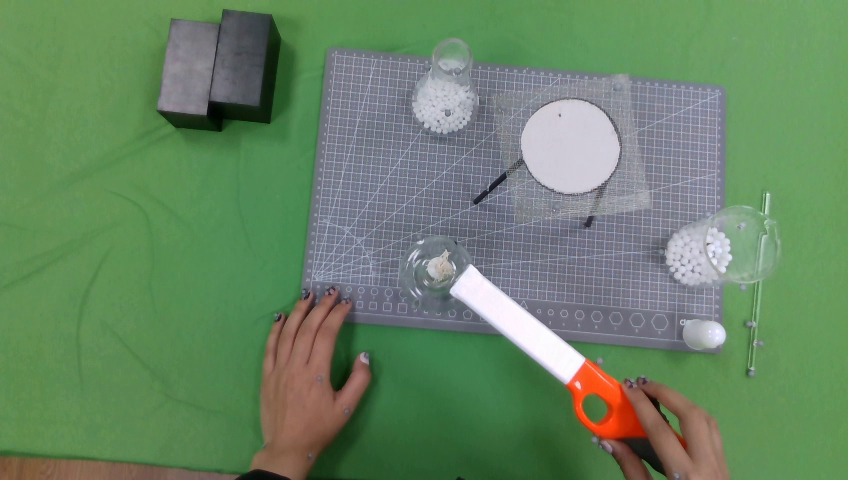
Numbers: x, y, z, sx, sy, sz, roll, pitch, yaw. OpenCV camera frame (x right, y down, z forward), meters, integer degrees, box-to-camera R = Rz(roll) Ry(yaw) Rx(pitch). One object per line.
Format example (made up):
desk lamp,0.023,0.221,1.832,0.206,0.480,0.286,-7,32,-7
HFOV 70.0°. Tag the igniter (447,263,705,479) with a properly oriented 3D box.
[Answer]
igniter,0.134,0.119,0.522,0.276,0.025,0.057,40,85,0

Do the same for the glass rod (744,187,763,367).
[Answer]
glass rod,0.361,0.038,0.661,0.008,0.008,0.199,9,82,-2

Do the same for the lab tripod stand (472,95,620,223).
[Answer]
lab tripod stand,0.123,-0.074,0.598,0.148,0.131,0.148,0,84,-2

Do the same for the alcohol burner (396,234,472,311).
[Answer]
alcohol burner,0.011,0.029,0.589,0.078,0.119,0.077,0,80,-1

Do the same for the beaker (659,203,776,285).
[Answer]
beaker,0.292,0.007,0.613,0.084,0.100,0.074,-32,85,-7

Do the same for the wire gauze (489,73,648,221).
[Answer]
wire gauze,0.127,-0.081,0.531,0.125,0.011,0.121,-8,83,-3

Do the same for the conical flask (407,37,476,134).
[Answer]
conical flask,0.020,-0.160,0.610,0.075,0.122,0.075,0,82,-2

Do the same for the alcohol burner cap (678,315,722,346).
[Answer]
alcohol burner cap,0.290,0.094,0.630,0.034,0.048,0.033,0,82,-3
